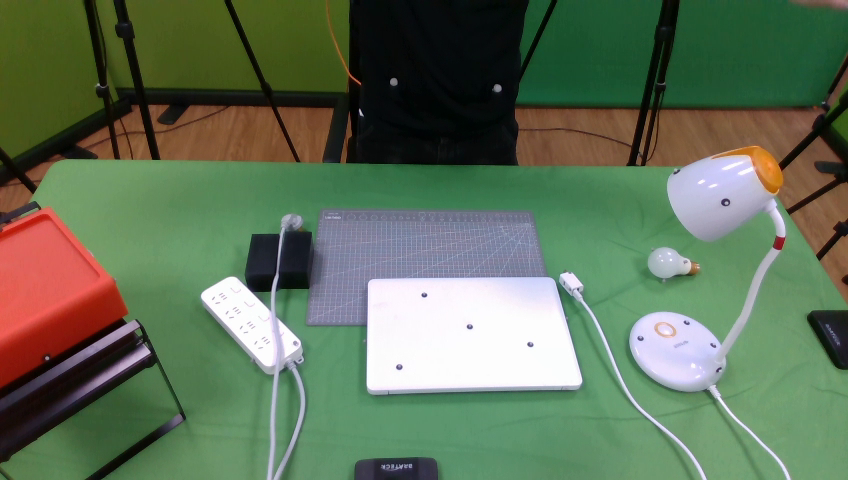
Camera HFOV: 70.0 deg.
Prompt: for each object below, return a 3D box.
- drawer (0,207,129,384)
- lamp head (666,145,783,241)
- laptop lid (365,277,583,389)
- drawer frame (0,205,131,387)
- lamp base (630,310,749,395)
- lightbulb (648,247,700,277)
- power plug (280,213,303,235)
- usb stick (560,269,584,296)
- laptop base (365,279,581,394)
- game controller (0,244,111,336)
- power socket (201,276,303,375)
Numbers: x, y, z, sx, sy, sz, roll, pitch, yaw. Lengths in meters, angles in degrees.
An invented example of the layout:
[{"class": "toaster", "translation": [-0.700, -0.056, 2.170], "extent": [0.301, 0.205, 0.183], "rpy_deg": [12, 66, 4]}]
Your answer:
[{"class": "drawer", "translation": [-0.539, 0.074, 0.798], "extent": [0.193, 0.073, 0.211], "rpy_deg": [37, 55, 27]}, {"class": "lamp head", "translation": [0.408, -0.067, 0.806], "extent": [0.113, 0.123, 0.112], "rpy_deg": [15, 63, -32]}, {"class": "laptop lid", "translation": [0.077, 0.152, 1.046], "extent": [0.357, 0.013, 0.240], "rpy_deg": [1, 45, -3]}, {"class": "drawer frame", "translation": [-0.539, 0.075, 0.795], "extent": [0.200, 0.083, 0.213], "rpy_deg": [36, 55, 26]}, {"class": "lamp base", "translation": [0.447, 0.142, 0.984], "extent": [0.161, 0.181, 0.178], "rpy_deg": [-24, 55, -24]}, {"class": "lightbulb", "translation": [0.485, 0.046, 1.170], "extent": [0.108, 0.060, 0.059], "rpy_deg": [10, 45, -15]}, {"class": "power plug", "translation": [-0.263, -0.021, 1.184], "extent": [0.035, 0.053, 0.072], "rpy_deg": [-3, 47, 31]}, {"class": "usb stick", "translation": [0.274, 0.077, 1.142], "extent": [0.027, 0.021, 0.059], "rpy_deg": [-11, 39, -13]}, {"class": "laptop base", "translation": [0.077, 0.162, 1.053], "extent": [0.355, 0.023, 0.234], "rpy_deg": [0, 44, -4]}, {"class": "game controller", "translation": [-0.510, 0.062, 0.830], "extent": [0.097, 0.052, 0.154], "rpy_deg": [-31, 58, -30]}, {"class": "power socket", "translation": [-0.296, 0.142, 1.034], "extent": [0.072, 0.033, 0.225], "rpy_deg": [-34, 58, -30]}]
